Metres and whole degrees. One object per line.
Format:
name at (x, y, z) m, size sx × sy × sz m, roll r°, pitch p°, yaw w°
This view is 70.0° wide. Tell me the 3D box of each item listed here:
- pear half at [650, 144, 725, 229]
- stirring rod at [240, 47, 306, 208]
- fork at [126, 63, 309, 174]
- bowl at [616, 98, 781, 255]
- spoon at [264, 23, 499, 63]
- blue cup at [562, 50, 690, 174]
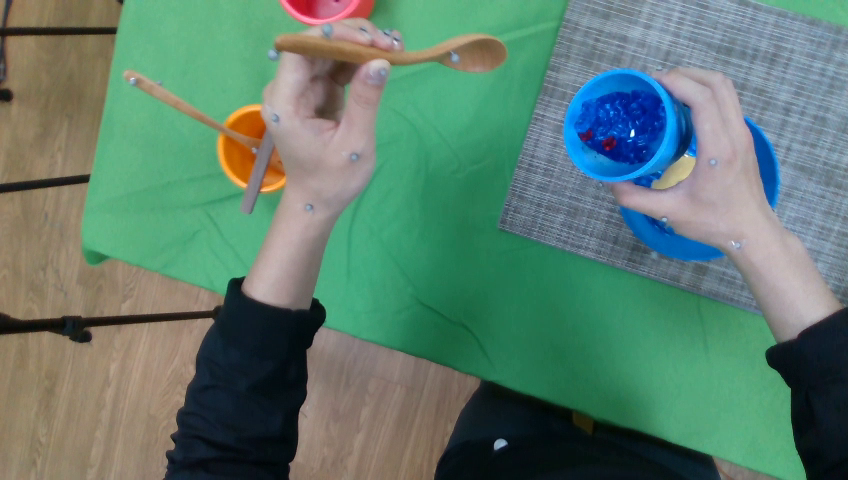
pear half at (0.268, -0.055, 0.610) m, size 0.070 × 0.031 × 0.088 m, roll -9°, pitch 91°, yaw 6°
stirring rod at (-0.157, -0.115, 0.627) m, size 0.014 × 0.006 × 0.176 m, roll 22°, pitch 100°, yaw 1°
fork at (-0.209, -0.124, 0.634) m, size 0.028 × 0.018 × 0.209 m, roll -45°, pitch 134°, yaw 18°
bowl at (0.266, -0.063, 0.615) m, size 0.151 × 0.077 × 0.151 m, roll 1°, pitch 97°, yaw 8°
spoon at (-0.016, -0.124, 0.380) m, size 0.041 × 0.194 × 0.021 m, roll -22°, pitch 89°, yaw 42°
blue cup at (0.175, -0.098, 0.499) m, size 0.092 × 0.100 × 0.093 m, roll 6°, pitch 100°, yaw 37°
